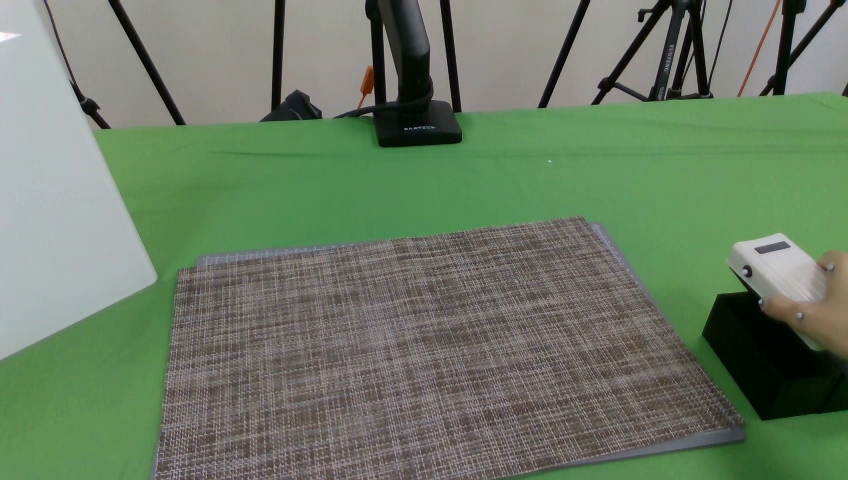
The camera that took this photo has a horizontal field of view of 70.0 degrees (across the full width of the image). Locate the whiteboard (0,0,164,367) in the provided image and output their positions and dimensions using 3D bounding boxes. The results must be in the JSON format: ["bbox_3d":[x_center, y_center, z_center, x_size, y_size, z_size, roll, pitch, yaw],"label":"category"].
[{"bbox_3d":[-0.415,-0.055,0.532,0.217,0.307,0.142,-32,29,-35],"label":"whiteboard"}]

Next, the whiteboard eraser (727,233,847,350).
[{"bbox_3d":[0.306,0.042,0.495,0.056,0.042,0.111,-11,37,-11],"label":"whiteboard eraser"}]
